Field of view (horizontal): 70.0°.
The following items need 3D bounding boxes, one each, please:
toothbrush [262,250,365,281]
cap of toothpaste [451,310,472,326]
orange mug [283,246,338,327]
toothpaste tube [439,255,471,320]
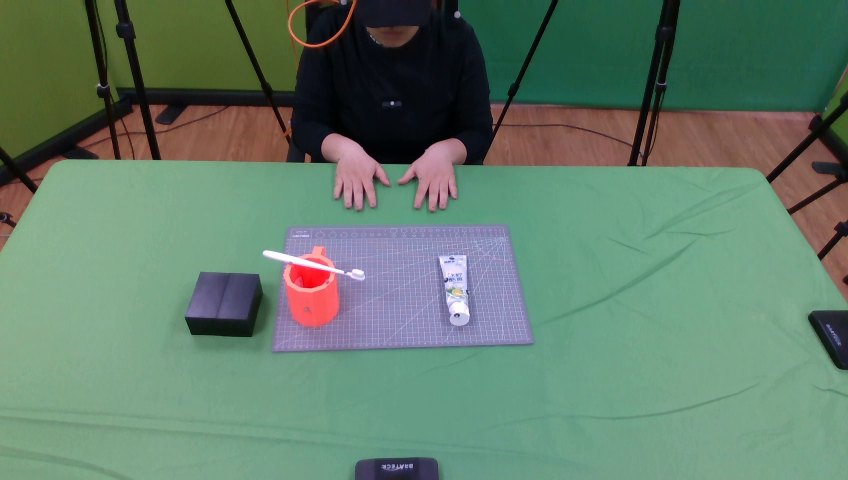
[{"bbox_3d":[-0.187,0.040,1.016,0.182,0.017,0.014,13,54,8],"label":"toothbrush"},{"bbox_3d":[0.065,0.134,1.054,0.037,0.037,0.011,1,40,-2],"label":"cap of toothpaste"},{"bbox_3d":[-0.193,0.073,1.056,0.083,0.101,0.125,5,50,1],"label":"orange mug"},{"bbox_3d":[0.062,0.084,1.113,0.055,0.035,0.164,2,41,-7],"label":"toothpaste tube"}]
